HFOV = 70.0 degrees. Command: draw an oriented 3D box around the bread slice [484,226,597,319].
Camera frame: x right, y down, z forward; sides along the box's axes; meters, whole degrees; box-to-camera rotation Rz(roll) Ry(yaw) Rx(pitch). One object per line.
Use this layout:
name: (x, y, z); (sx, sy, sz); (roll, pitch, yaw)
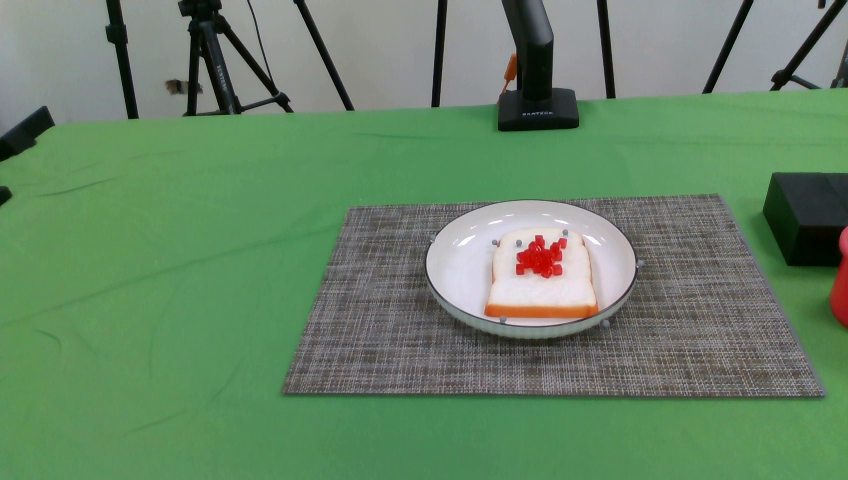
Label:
bread slice: (0.116, 0.029, 0.612); (0.105, 0.019, 0.130); (1, 38, 9)

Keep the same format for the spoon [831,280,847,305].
spoon: (0.436, 0.015, 0.490); (0.022, 0.194, 0.041); (48, 45, -6)

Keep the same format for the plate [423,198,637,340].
plate: (0.103, 0.028, 0.612); (0.209, 0.038, 0.207); (-5, 36, 4)
